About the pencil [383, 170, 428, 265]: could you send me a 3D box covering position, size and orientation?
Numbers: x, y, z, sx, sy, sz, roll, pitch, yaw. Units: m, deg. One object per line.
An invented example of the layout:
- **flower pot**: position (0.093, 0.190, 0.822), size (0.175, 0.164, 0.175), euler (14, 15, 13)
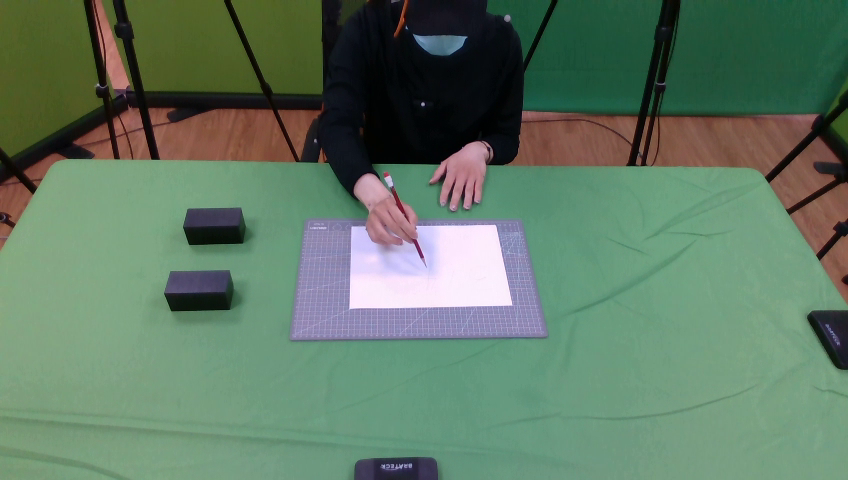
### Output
- **pencil**: position (-0.033, -0.040, 1.123), size (0.012, 0.012, 0.194), euler (-28, 98, -27)
